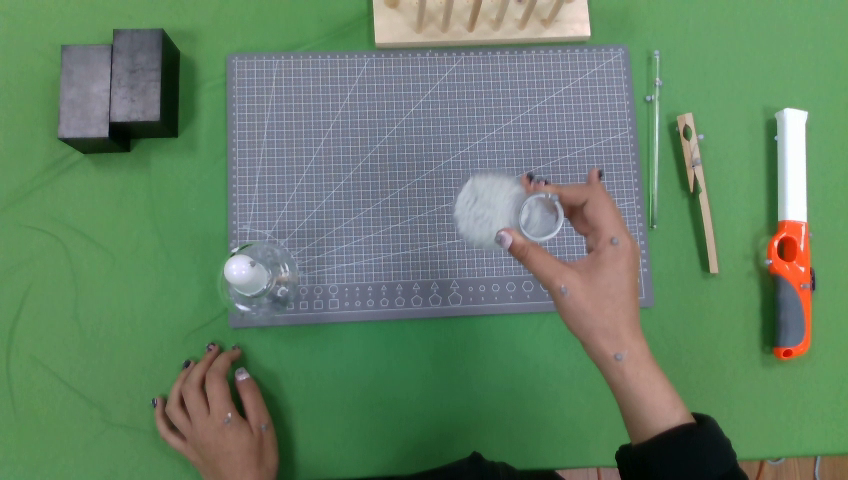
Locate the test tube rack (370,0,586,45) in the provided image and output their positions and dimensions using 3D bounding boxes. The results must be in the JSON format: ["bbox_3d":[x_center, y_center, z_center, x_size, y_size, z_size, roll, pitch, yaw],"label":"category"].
[{"bbox_3d":[0.063,-0.264,0.652,0.242,0.085,0.066,-3,82,-3],"label":"test tube rack"}]

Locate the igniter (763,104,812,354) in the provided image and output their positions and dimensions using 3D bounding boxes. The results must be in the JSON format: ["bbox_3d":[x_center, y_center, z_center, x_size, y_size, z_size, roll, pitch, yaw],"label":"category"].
[{"bbox_3d":[0.398,-0.014,0.663,0.057,0.025,0.275,7,82,-12],"label":"igniter"}]

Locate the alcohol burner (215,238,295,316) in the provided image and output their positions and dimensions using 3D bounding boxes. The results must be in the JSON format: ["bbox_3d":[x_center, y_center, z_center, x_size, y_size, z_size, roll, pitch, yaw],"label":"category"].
[{"bbox_3d":[-0.166,0.033,0.580,0.078,0.119,0.077,0,80,-1],"label":"alcohol burner"}]

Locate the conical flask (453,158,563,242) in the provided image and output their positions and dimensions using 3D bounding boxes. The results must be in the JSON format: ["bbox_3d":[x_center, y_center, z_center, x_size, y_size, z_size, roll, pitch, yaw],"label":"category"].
[{"bbox_3d":[0.072,-0.028,0.493,0.075,0.121,0.075,-2,99,-10],"label":"conical flask"}]

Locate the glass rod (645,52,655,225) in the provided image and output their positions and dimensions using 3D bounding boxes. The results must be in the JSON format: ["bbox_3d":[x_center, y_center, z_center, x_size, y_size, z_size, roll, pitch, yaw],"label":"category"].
[{"bbox_3d":[0.254,-0.116,0.679,0.008,0.008,0.199,4,84,-3],"label":"glass rod"}]

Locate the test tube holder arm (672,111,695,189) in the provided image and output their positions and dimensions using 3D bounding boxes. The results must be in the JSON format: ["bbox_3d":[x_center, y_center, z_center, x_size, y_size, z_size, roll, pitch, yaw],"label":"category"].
[{"bbox_3d":[0.291,-0.100,0.676,0.010,0.015,0.087,-13,82,32],"label":"test tube holder arm"}]

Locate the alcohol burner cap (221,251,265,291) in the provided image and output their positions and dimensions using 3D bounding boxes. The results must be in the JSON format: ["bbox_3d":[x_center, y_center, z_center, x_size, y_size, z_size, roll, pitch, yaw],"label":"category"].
[{"bbox_3d":[-0.165,0.026,0.545,0.034,0.048,0.033,1,73,-2],"label":"alcohol burner cap"}]

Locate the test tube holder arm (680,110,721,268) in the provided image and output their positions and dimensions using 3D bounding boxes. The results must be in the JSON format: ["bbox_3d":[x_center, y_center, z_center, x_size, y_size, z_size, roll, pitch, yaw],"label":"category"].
[{"bbox_3d":[0.303,-0.057,0.667,0.013,0.015,0.178,-15,81,32],"label":"test tube holder arm"}]
